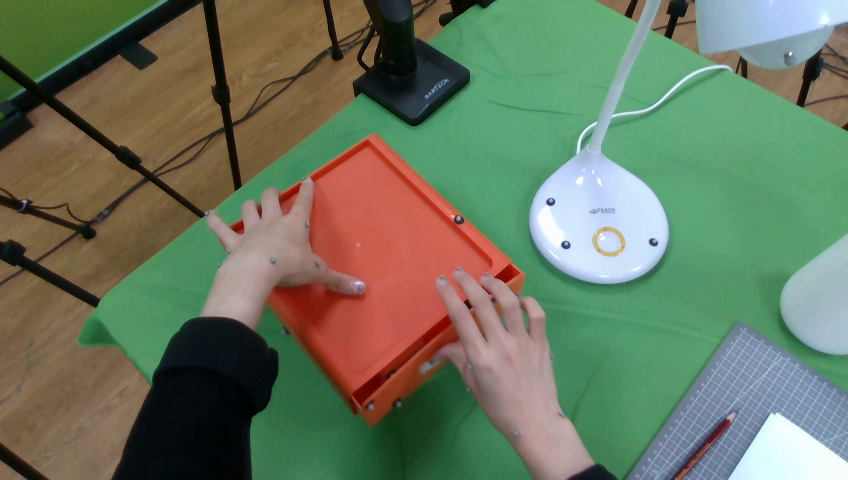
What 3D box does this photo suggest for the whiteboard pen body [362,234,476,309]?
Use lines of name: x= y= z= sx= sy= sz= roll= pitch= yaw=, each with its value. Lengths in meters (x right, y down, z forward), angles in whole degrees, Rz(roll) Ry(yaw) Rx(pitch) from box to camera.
whiteboard pen body: x=-0.006 y=0.034 z=0.623 sx=0.140 sy=0.017 sz=0.017 roll=31 pitch=65 yaw=17

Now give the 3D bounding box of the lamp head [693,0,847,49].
lamp head: x=0.220 y=-0.193 z=0.382 sx=0.112 sy=0.112 sz=0.123 roll=-19 pitch=99 yaw=-10

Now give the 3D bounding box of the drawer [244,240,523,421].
drawer: x=-0.044 y=0.034 z=0.600 sx=0.194 sy=0.074 sz=0.210 roll=-38 pitch=65 yaw=-18

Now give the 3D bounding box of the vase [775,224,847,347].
vase: x=0.420 y=0.027 z=0.574 sx=0.098 sy=0.202 sz=0.097 roll=-1 pitch=59 yaw=2

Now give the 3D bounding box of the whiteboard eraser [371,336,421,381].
whiteboard eraser: x=-0.061 y=0.085 z=0.591 sx=0.111 sy=0.042 sz=0.055 roll=34 pitch=59 yaw=27

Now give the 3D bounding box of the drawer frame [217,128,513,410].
drawer frame: x=-0.058 y=0.022 z=0.608 sx=0.201 sy=0.083 sz=0.212 roll=-38 pitch=68 yaw=-18

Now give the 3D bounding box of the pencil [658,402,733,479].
pencil: x=0.237 y=0.217 z=0.575 sx=0.194 sy=0.012 sz=0.012 roll=-37 pitch=65 yaw=-20

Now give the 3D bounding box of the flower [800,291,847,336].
flower: x=0.435 y=-0.023 z=0.508 sx=0.038 sy=0.364 sz=0.044 roll=26 pitch=45 yaw=8

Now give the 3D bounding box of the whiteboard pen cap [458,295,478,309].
whiteboard pen cap: x=0.043 y=0.062 z=0.606 sx=0.033 sy=0.018 sz=0.018 roll=28 pitch=64 yaw=25

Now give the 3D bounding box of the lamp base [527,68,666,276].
lamp base: x=0.196 y=-0.078 z=0.651 sx=0.161 sy=0.182 sz=0.177 roll=-13 pitch=57 yaw=-6
